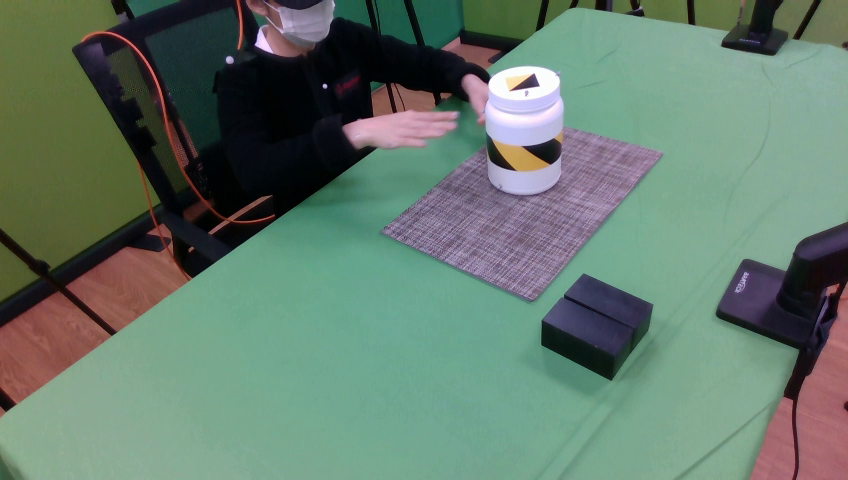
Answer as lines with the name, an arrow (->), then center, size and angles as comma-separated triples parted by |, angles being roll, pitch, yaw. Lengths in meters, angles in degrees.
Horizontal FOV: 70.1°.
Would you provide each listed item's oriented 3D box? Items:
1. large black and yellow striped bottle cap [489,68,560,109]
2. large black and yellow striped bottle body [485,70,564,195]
large black and yellow striped bottle cap -> 0.161, -0.246, 0.979 | 0.115, 0.019, 0.114 | -5, 39, 5
large black and yellow striped bottle body -> 0.172, -0.184, 1.034 | 0.131, 0.185, 0.130 | -5, 41, 5
